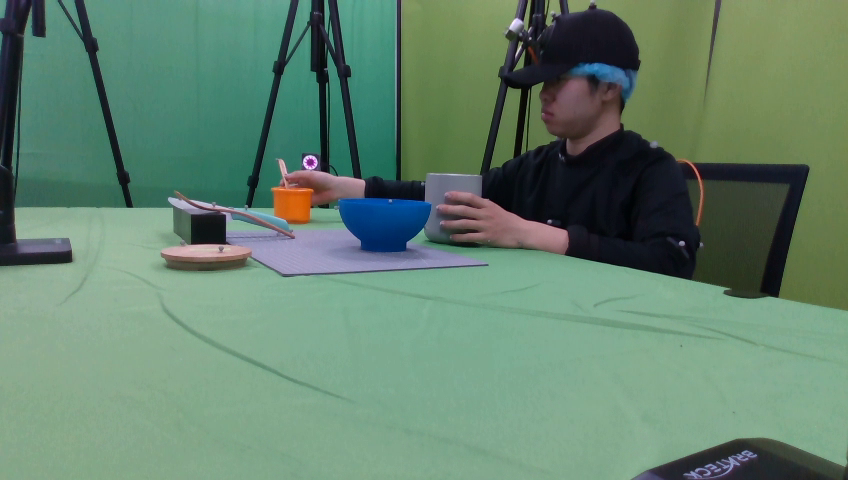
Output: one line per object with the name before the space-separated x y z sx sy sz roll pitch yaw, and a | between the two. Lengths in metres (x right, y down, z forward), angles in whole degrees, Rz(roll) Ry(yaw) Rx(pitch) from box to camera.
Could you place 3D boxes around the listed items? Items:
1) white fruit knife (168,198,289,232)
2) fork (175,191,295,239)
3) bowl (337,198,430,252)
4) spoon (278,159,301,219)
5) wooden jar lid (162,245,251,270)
white fruit knife | -0.329 -0.044 1.036 0.208 0.027 0.016 14 -1 -32
fork | -0.305 -0.039 0.993 0.208 0.018 0.028 19 -9 -34
bowl | -0.066 -0.024 0.967 0.151 0.077 0.151 3 7 0
spoon | -0.310 -0.118 1.366 0.042 0.193 0.021 -2 -36 -22
wooden jar lid | -0.278 0.022 0.777 0.108 0.020 0.108 2 6 0
